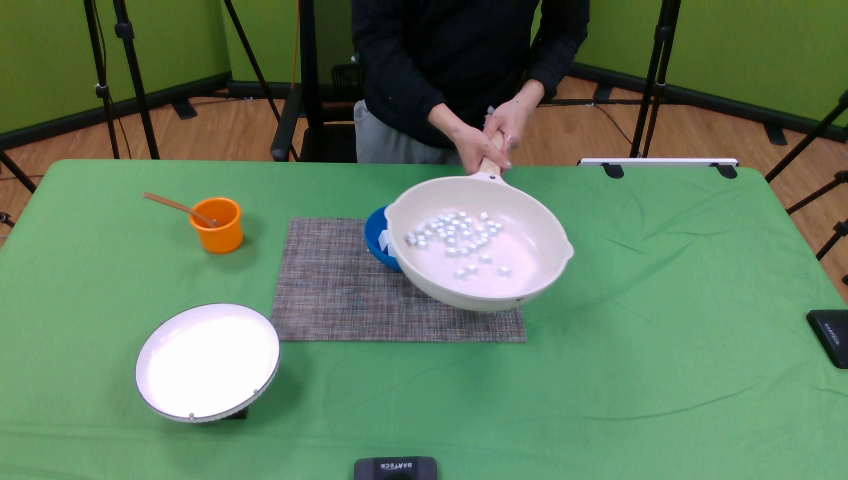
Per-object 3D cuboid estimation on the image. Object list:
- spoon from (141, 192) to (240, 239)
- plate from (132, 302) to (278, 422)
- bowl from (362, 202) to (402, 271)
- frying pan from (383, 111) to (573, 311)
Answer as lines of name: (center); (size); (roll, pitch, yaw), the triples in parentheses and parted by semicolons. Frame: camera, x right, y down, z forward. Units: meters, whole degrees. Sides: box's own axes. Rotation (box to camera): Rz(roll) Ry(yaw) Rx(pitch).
spoon: (-0.428, -0.048, 1.123); (0.021, 0.195, 0.041); (-38, 44, 21)
plate: (-0.325, 0.186, 0.916); (0.208, 0.039, 0.206); (3, 44, -2)
bowl: (-0.041, 0.005, 1.144); (0.151, 0.077, 0.150); (3, 46, -2)
frying pan: (0.103, -0.071, 1.047); (0.307, 0.103, 0.485); (14, 50, 3)
